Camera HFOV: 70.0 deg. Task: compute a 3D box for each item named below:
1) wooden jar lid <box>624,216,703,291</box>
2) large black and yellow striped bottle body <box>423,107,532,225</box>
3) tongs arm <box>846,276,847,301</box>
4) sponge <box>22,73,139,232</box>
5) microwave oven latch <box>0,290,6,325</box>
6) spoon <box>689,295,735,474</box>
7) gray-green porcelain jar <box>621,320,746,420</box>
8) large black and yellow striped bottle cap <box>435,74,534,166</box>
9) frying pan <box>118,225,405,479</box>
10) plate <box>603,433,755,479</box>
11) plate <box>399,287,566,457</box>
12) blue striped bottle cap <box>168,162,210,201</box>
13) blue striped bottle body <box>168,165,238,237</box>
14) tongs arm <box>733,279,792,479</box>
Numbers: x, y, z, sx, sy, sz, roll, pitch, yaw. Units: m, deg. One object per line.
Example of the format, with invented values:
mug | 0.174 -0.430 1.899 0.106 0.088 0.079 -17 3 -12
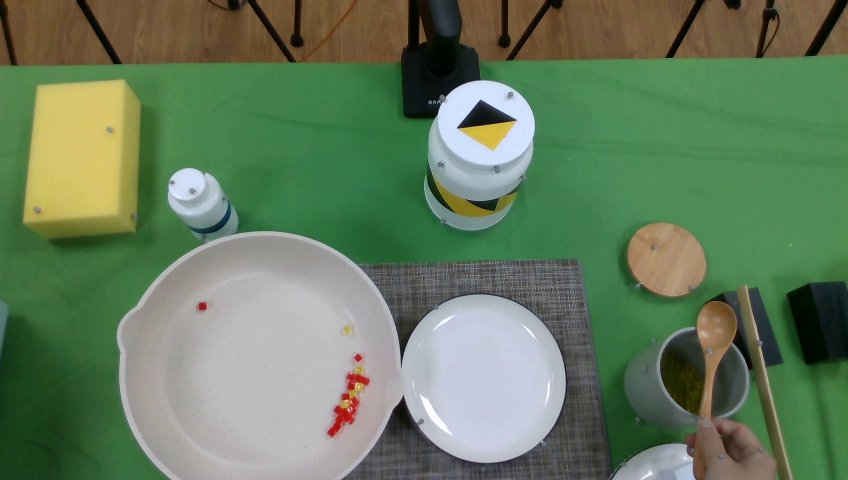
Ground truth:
wooden jar lid | 0.330 0.020 0.840 0.108 0.021 0.107 1 72 -2
large black and yellow striped bottle body | 0.066 -0.111 0.784 0.131 0.185 0.130 1 70 -3
tongs arm | 0.524 0.232 0.738 0.028 0.028 0.386 8 80 -8
sponge | -0.460 -0.120 0.821 0.118 0.061 0.205 -6 72 -6
microwave oven latch | -0.531 0.097 0.732 0.030 0.029 0.078 2 71 -3
spoon | 0.305 0.153 0.656 0.041 0.022 0.193 7 70 28
gray-green porcelain jar | 0.304 0.161 0.731 0.106 0.127 0.105 1 70 -2
large black and yellow striped bottle cap | 0.071 -0.141 0.706 0.115 0.019 0.114 1 72 -3
frying pan | -0.187 0.220 0.627 0.308 0.103 0.484 18 60 -16
plate | 0.302 0.337 0.716 0.208 0.039 0.206 1 70 -3
plate | 0.071 0.162 0.760 0.209 0.038 0.207 1 70 -2
blue striped bottle cap | -0.282 -0.071 0.728 0.044 0.021 0.044 1 72 -3
blue striped bottle body | -0.284 -0.053 0.776 0.063 0.121 0.062 1 70 -2
tongs arm | 0.439 0.234 0.731 0.051 0.026 0.383 -6 81 -8
